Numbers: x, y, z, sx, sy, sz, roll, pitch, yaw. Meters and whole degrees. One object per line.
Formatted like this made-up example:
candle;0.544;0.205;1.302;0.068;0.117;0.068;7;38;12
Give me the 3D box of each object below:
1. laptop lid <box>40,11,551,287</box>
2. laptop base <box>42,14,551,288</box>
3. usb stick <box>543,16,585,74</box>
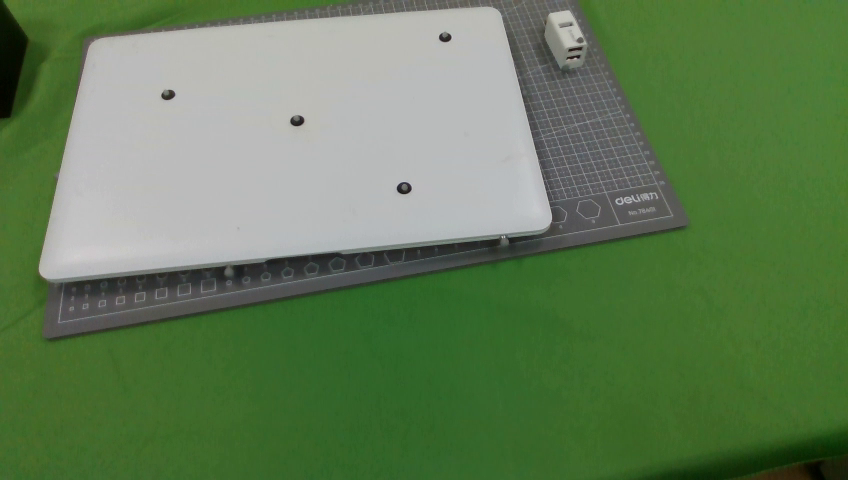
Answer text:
laptop lid;-0.096;-0.085;0.467;0.357;0.013;0.239;-5;60;-2
laptop base;-0.096;-0.081;0.479;0.355;0.023;0.233;-6;62;-3
usb stick;0.119;-0.175;0.528;0.021;0.027;0.058;-11;56;-6
